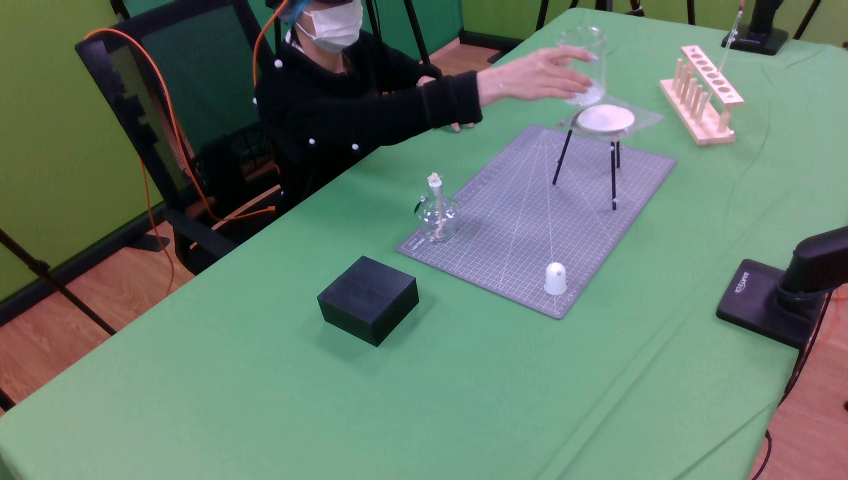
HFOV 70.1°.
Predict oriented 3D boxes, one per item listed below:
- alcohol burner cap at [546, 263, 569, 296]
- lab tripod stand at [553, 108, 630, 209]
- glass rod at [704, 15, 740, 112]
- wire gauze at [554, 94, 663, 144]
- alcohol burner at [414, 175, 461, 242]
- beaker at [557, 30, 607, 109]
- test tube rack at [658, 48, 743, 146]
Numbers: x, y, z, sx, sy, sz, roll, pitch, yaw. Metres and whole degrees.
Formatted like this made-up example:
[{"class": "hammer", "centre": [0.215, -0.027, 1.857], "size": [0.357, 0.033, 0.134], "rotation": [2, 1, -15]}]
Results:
[{"class": "alcohol burner cap", "centre": [0.191, 0.053, 0.862], "size": [0.034, 0.048, 0.033], "rotation": [-5, 40, 4]}, {"class": "lab tripod stand", "centre": [0.292, -0.144, 1.010], "size": [0.148, 0.132, 0.147], "rotation": [-5, 38, 4]}, {"class": "glass rod", "centre": [0.549, -0.319, 1.117], "size": [0.008, 0.200, 0.008], "rotation": [-2, 47, 3]}, {"class": "wire gauze", "centre": [0.293, -0.193, 0.963], "size": [0.125, 0.011, 0.120], "rotation": [-31, 45, -27]}, {"class": "alcohol burner", "centre": [0.020, -0.055, 0.963], "size": [0.078, 0.119, 0.077], "rotation": [-3, 42, 3]}, {"class": "beaker", "centre": [0.250, -0.264, 0.940], "size": [0.084, 0.101, 0.073], "rotation": [-35, 43, -24]}, {"class": "test tube rack", "centre": [0.532, -0.284, 1.181], "size": [0.067, 0.085, 0.241], "rotation": [-5, 40, 4]}]
